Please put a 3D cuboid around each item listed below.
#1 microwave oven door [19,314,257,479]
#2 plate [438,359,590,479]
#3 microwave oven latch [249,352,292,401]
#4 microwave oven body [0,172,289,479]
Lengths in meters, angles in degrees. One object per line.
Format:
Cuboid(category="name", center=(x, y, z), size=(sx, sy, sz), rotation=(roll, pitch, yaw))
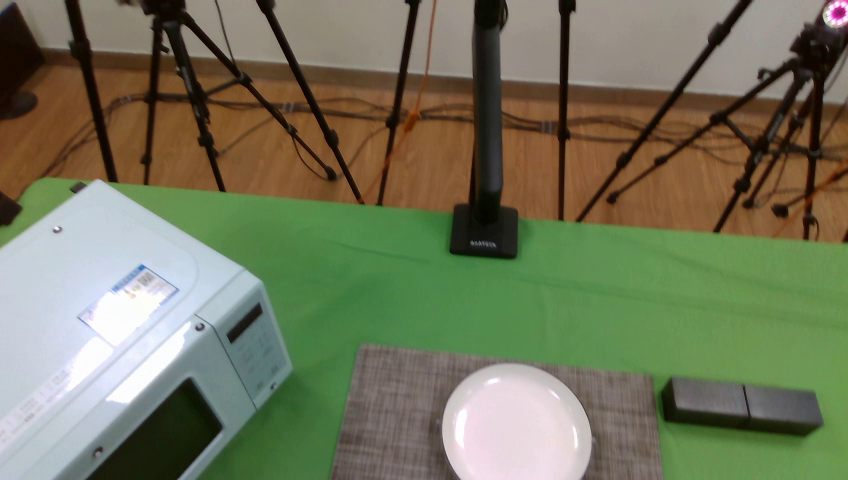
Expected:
Cuboid(category="microwave oven door", center=(-0.348, 0.272, 0.685), size=(0.039, 0.246, 0.354), rotation=(28, 57, 20))
Cuboid(category="plate", center=(0.122, 0.267, 0.843), size=(0.208, 0.039, 0.205), rotation=(1, 52, -1))
Cuboid(category="microwave oven latch", center=(-0.225, 0.192, 0.877), size=(0.030, 0.030, 0.079), rotation=(30, 58, 20))
Cuboid(category="microwave oven body", center=(-0.447, 0.184, 0.758), size=(0.324, 0.262, 0.440), rotation=(28, 58, 19))
